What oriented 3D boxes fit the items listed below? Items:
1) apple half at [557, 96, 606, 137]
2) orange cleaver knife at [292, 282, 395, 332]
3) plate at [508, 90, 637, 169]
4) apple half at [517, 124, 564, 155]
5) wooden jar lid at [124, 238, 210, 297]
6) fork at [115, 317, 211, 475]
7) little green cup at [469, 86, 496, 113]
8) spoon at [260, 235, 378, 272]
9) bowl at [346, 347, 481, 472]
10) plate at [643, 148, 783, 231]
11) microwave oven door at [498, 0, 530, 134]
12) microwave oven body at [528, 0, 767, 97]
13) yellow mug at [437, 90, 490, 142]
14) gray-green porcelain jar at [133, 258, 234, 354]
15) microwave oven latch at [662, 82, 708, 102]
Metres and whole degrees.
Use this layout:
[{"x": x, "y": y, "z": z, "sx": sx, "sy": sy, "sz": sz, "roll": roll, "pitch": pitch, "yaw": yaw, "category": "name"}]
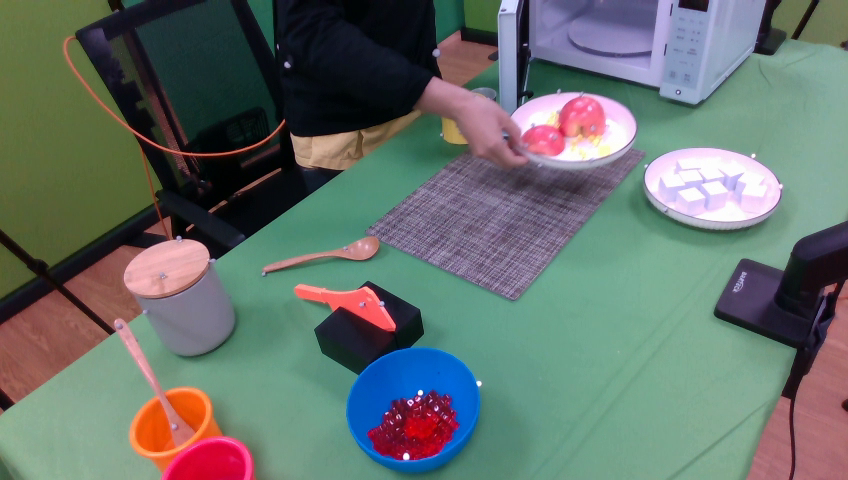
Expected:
[{"x": 0.264, "y": -0.212, "z": 1.009, "sx": 0.080, "sy": 0.053, "sz": 0.074, "roll": 9, "pitch": 42, "yaw": 17, "category": "apple half"}, {"x": -0.115, "y": 0.091, "z": 0.835, "sx": 0.209, "sy": 0.077, "sz": 0.012, "roll": 2, "pitch": 32, "yaw": 48, "category": "orange cleaver knife"}, {"x": 0.242, "y": -0.178, "z": 0.999, "sx": 0.209, "sy": 0.038, "sz": 0.208, "roll": -3, "pitch": 43, "yaw": 3, "category": "plate"}, {"x": 0.194, "y": -0.173, "z": 0.990, "sx": 0.081, "sy": 0.033, "sz": 0.081, "roll": 3, "pitch": 39, "yaw": -2, "category": "apple half"}, {"x": -0.335, "y": 0.039, "z": 0.794, "sx": 0.108, "sy": 0.021, "sz": 0.108, "roll": -2, "pitch": 40, "yaw": 2, "category": "wooden jar lid"}, {"x": -0.309, "y": 0.180, "z": 0.708, "sx": 0.028, "sy": 0.018, "sz": 0.207, "roll": -29, "pitch": 89, "yaw": -24, "category": "fork"}, {"x": 0.124, "y": -0.297, "z": 1.285, "sx": 0.061, "sy": 0.039, "sz": 0.061, "roll": -3, "pitch": 41, "yaw": 3, "category": "little green cup"}, {"x": -0.168, "y": 0.024, "z": 0.966, "sx": 0.194, "sy": 0.022, "sz": 0.041, "roll": -10, "pitch": 58, "yaw": -3, "category": "spoon"}, {"x": -0.008, "y": 0.205, "z": 0.691, "sx": 0.151, "sy": 0.077, "sz": 0.150, "roll": -4, "pitch": 40, "yaw": 4, "category": "bowl"}, {"x": 0.464, "y": -0.080, "z": 0.986, "sx": 0.207, "sy": 0.039, "sz": 0.206, "roll": -4, "pitch": 41, "yaw": 4, "category": "plate"}, {"x": 0.186, "y": -0.411, "z": 1.225, "sx": 0.039, "sy": 0.245, "sz": 0.355, "roll": 3, "pitch": 42, "yaw": 12, "category": "microwave oven door"}, {"x": 0.473, "y": -0.516, "z": 1.314, "sx": 0.438, "sy": 0.261, "sz": 0.327, "roll": 26, "pitch": 51, "yaw": 34, "category": "microwave oven body"}, {"x": 0.070, "y": -0.257, "z": 1.225, "sx": 0.100, "sy": 0.064, "sz": 0.129, "roll": -32, "pitch": 44, "yaw": -26, "category": "yellow mug"}, {"x": -0.328, "y": 0.087, "z": 0.836, "sx": 0.106, "sy": 0.127, "sz": 0.105, "roll": -4, "pitch": 41, "yaw": 4, "category": "gray-green porcelain jar"}, {"x": 0.518, "y": -0.298, "z": 1.203, "sx": 0.078, "sy": 0.029, "sz": 0.030, "roll": 28, "pitch": 53, "yaw": 35, "category": "microwave oven latch"}]
